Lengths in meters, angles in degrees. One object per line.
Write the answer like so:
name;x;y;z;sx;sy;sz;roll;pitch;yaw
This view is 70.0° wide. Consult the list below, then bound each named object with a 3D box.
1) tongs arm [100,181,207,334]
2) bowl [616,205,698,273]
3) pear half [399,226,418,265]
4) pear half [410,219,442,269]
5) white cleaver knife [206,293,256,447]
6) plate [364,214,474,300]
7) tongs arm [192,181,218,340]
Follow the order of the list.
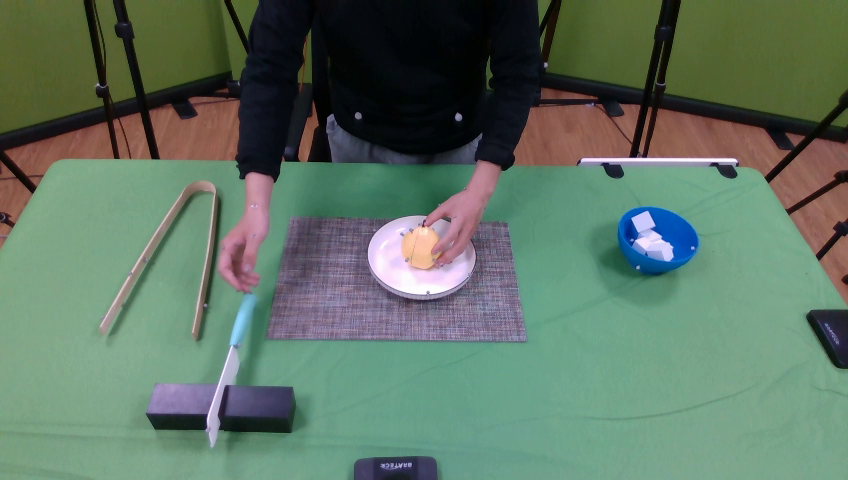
tongs arm;-0.494;0.018;1.132;0.051;0.026;0.382;6;45;0
bowl;0.443;0.011;1.182;0.151;0.077;0.150;2;46;-2
pear half;-0.030;0.005;1.125;0.031;0.088;0.070;7;49;-1
pear half;0.006;0.003;1.116;0.056;0.110;0.076;6;50;1
white cleaver knife;-0.305;0.191;0.956;0.021;0.066;0.284;6;36;-4
plate;-0.010;0.036;1.146;0.208;0.039;0.206;2;46;-2
tongs arm;-0.413;0.024;1.140;0.028;0.028;0.385;-6;47;-7
